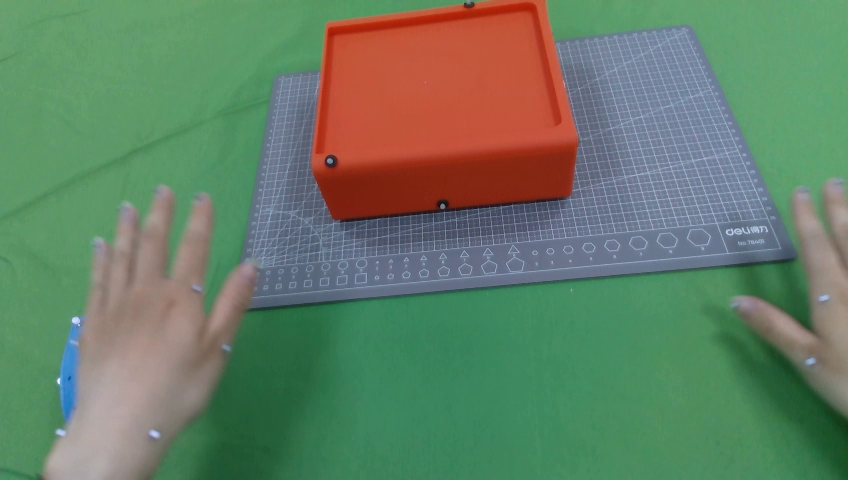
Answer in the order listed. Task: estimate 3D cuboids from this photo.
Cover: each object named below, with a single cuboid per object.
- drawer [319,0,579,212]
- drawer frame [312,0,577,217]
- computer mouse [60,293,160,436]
[{"bbox_3d":[0.021,-0.126,0.553,0.211,0.074,0.192,-6,55,5],"label":"drawer"},{"bbox_3d":[0.018,-0.127,0.553,0.213,0.083,0.199,-7,55,5],"label":"drawer frame"},{"bbox_3d":[-0.244,0.091,0.470,0.063,0.041,0.116,-22,51,-5],"label":"computer mouse"}]
